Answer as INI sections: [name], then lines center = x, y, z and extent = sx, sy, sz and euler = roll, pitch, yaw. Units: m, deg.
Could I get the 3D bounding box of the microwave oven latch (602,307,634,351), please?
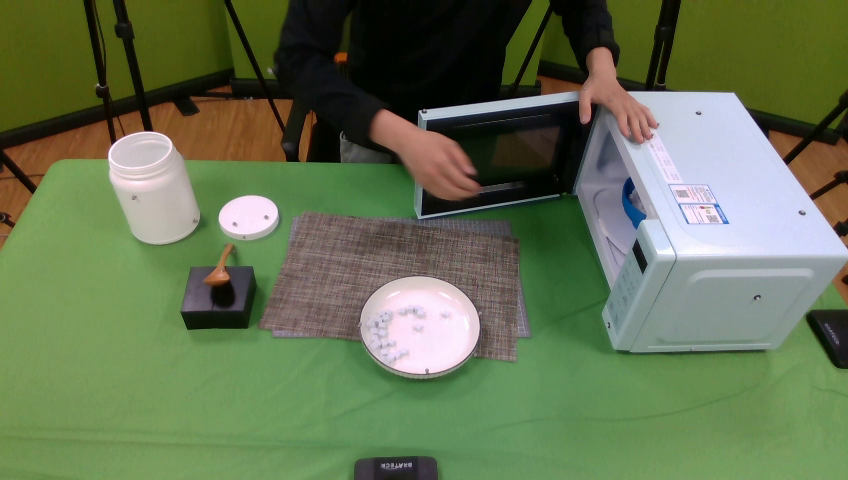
[microwave oven latch]
center = 0.332, 0.153, 1.044
extent = 0.030, 0.029, 0.078
euler = 0, 45, -4

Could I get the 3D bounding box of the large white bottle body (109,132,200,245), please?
[large white bottle body]
center = -0.506, -0.097, 1.141
extent = 0.131, 0.185, 0.130
euler = 2, 46, -2

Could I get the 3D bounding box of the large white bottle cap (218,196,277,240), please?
[large white bottle cap]
center = -0.354, -0.045, 1.220
extent = 0.115, 0.018, 0.114
euler = 2, 46, -2

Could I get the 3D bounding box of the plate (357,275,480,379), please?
[plate]
center = -0.009, 0.151, 1.038
extent = 0.209, 0.038, 0.208
euler = 2, 47, -2

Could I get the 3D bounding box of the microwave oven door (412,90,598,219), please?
[microwave oven door]
center = 0.155, -0.167, 1.200
extent = 0.356, 0.245, 0.039
euler = -10, 47, -14

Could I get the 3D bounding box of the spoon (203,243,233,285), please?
[spoon]
center = -0.360, 0.039, 1.087
extent = 0.041, 0.022, 0.192
euler = -5, 24, -7

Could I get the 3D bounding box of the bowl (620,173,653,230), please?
[bowl]
center = 0.445, -0.056, 1.165
extent = 0.151, 0.077, 0.150
euler = 2, 46, -2

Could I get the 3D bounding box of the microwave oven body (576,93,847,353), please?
[microwave oven body]
center = 0.475, -0.041, 1.109
extent = 0.326, 0.261, 0.438
euler = -1, 45, -4
